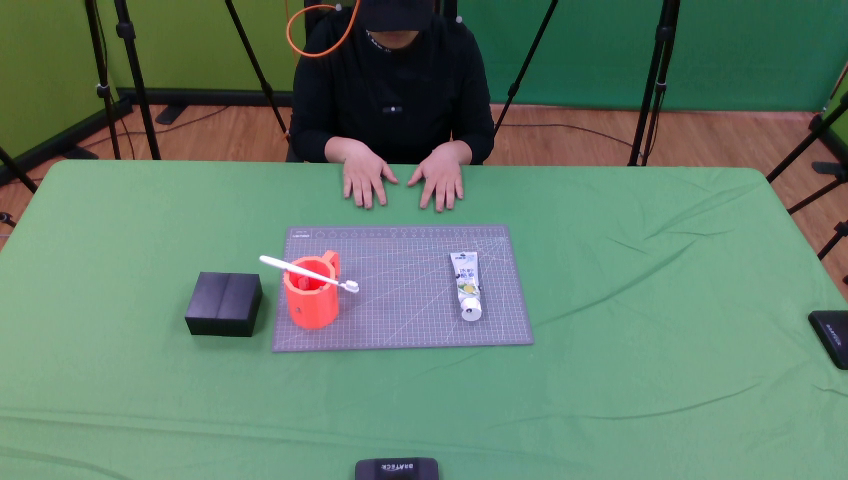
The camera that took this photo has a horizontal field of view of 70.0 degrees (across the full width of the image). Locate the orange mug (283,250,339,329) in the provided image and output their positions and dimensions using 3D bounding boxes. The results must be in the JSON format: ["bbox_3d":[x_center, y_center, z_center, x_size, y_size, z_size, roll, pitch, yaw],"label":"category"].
[{"bbox_3d":[-0.186,0.078,1.052,0.083,0.101,0.126,20,52,15],"label":"orange mug"}]

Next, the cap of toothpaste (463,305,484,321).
[{"bbox_3d":[0.087,0.127,1.064,0.037,0.037,0.011,2,40,-2],"label":"cap of toothpaste"}]

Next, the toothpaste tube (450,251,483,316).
[{"bbox_3d":[0.084,0.077,1.122,0.055,0.035,0.164,3,41,-8],"label":"toothpaste tube"}]

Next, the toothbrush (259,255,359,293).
[{"bbox_3d":[-0.192,0.054,1.002,0.181,0.017,0.014,17,53,12],"label":"toothbrush"}]
